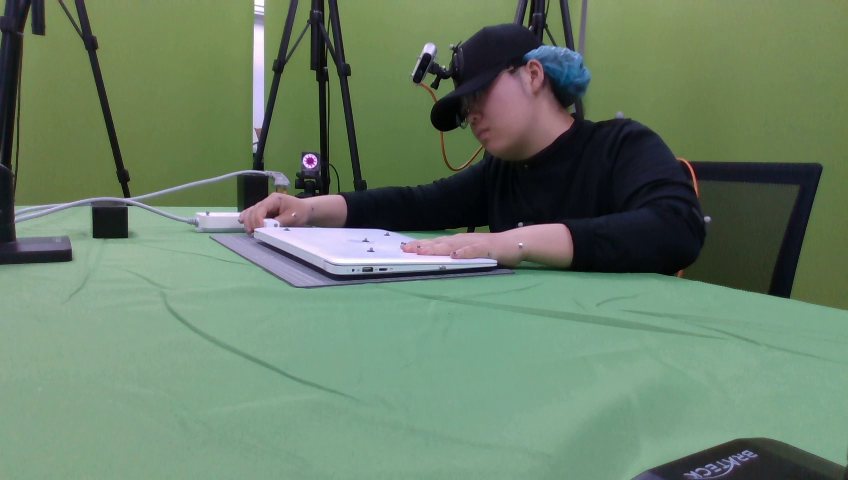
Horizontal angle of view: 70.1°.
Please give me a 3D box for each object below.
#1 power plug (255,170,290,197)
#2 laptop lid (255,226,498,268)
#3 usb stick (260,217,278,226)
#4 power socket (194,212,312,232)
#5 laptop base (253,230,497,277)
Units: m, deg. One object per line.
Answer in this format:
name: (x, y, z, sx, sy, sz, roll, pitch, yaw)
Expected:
power plug: (-0.323, -0.119, 1.285, 0.073, 0.052, 0.035, 2, -13, -13)
laptop lid: (-0.086, 0.006, 0.877, 0.243, 0.013, 0.355, 2, 7, -29)
usb stick: (-0.255, -0.021, 1.002, 0.021, 0.027, 0.059, -2, 15, -26)
power socket: (-0.322, -0.036, 1.153, 0.228, 0.032, 0.072, -2, 8, -34)
laptop base: (-0.088, 0.017, 0.877, 0.237, 0.023, 0.352, 2, 6, -31)
